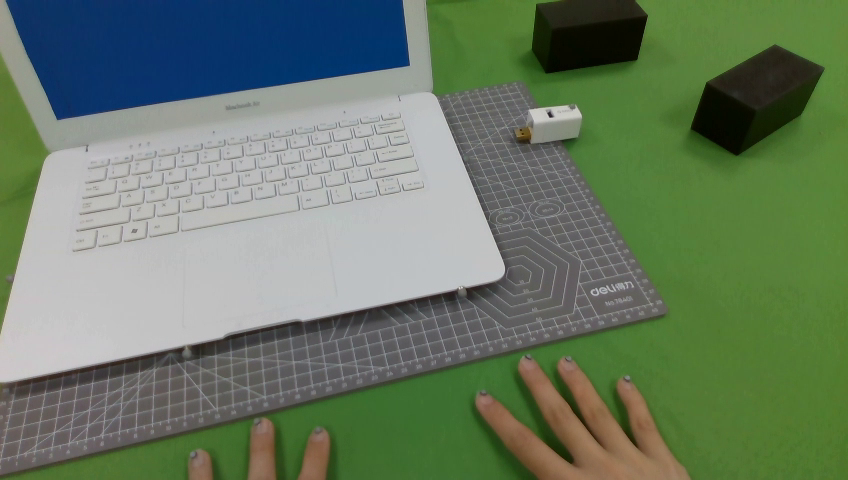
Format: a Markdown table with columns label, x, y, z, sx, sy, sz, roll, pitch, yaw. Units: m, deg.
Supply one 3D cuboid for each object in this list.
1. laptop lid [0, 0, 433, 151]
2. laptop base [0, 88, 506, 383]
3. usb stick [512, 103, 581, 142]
| label | x | y | z | sx | sy | sz | roll | pitch | yaw |
| --- | --- | --- | --- | --- | --- | --- | --- | --- | --- |
| laptop lid | -0.173 | -0.204 | 0.499 | 0.357 | 0.244 | 0.013 | -12 | 35 | -7 |
| laptop base | -0.135 | -0.022 | 0.490 | 0.355 | 0.023 | 0.233 | -11 | 53 | -8 |
| usb stick | 0.109 | -0.105 | 0.546 | 0.059 | 0.027 | 0.021 | -10 | 48 | -3 |
